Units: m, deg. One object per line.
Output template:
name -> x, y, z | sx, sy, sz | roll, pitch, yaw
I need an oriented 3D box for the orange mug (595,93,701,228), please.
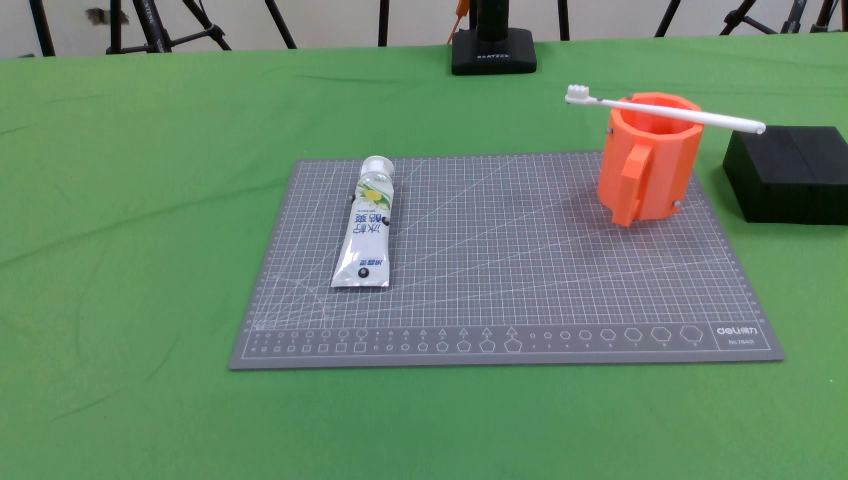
orange mug -> 0.213, -0.073, 0.594 | 0.083, 0.102, 0.126 | 19, 43, 23

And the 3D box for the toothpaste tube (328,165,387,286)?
toothpaste tube -> -0.060, -0.019, 0.608 | 0.055, 0.035, 0.163 | -5, 47, 6

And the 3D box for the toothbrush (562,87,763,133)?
toothbrush -> 0.220, -0.123, 0.570 | 0.181, 0.017, 0.014 | 15, 40, 20

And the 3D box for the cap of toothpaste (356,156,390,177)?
cap of toothpaste -> -0.056, -0.076, 0.660 | 0.037, 0.038, 0.011 | 1, 49, 5
